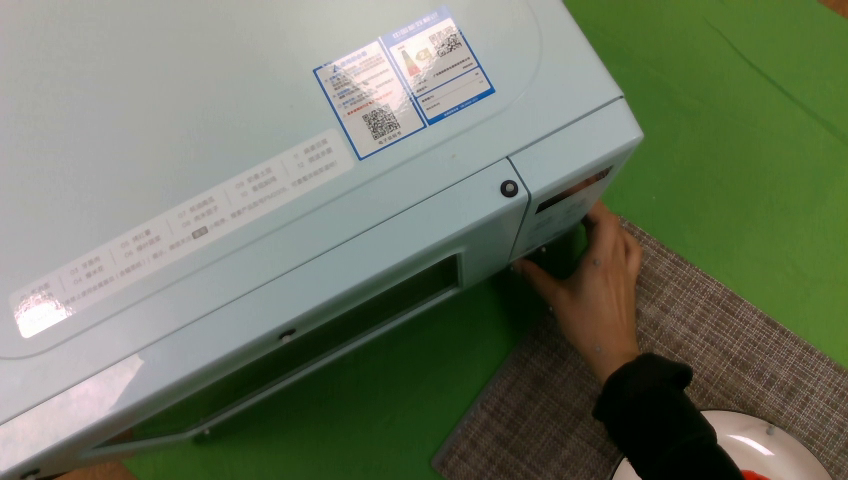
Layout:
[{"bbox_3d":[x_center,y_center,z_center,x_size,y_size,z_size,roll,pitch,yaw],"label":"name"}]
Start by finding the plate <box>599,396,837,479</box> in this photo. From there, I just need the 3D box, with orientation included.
[{"bbox_3d":[0.251,0.241,0.522,0.209,0.038,0.208,-1,79,3],"label":"plate"}]

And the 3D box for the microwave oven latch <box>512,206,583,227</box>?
[{"bbox_3d":[0.107,-0.029,0.570,0.079,0.029,0.030,-5,80,3],"label":"microwave oven latch"}]

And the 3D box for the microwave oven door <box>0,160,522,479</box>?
[{"bbox_3d":[-0.096,0.065,0.459,0.356,0.245,0.039,-28,77,-2],"label":"microwave oven door"}]

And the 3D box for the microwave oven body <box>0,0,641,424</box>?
[{"bbox_3d":[-0.127,-0.080,0.495,0.442,0.261,0.324,-28,79,-2],"label":"microwave oven body"}]

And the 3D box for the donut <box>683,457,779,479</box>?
[{"bbox_3d":[0.263,0.234,0.512,0.099,0.048,0.098,0,81,2],"label":"donut"}]
